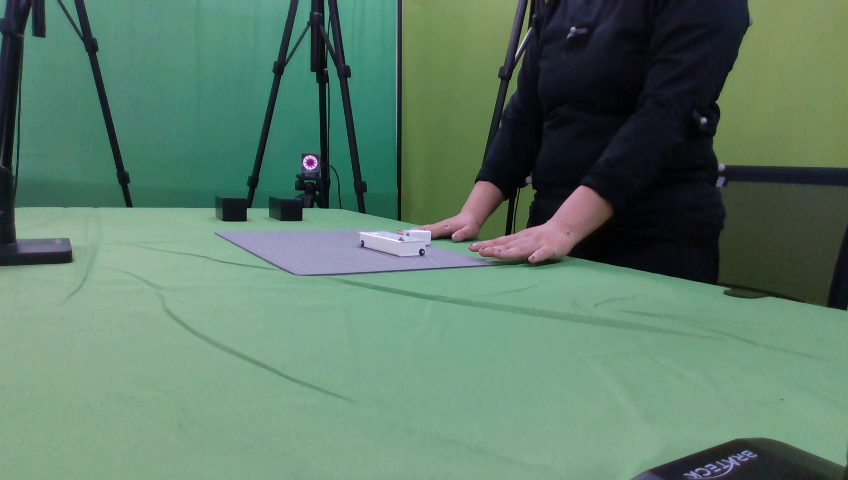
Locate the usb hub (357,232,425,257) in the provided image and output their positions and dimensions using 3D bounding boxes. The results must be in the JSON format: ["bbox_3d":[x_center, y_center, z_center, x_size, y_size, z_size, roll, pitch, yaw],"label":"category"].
[{"bbox_3d":[-0.055,0.005,0.947,0.050,0.025,0.124,-3,9,-36],"label":"usb hub"}]

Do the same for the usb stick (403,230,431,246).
[{"bbox_3d":[-0.019,-0.003,1.020,0.059,0.027,0.021,-6,14,-34],"label":"usb stick"}]
